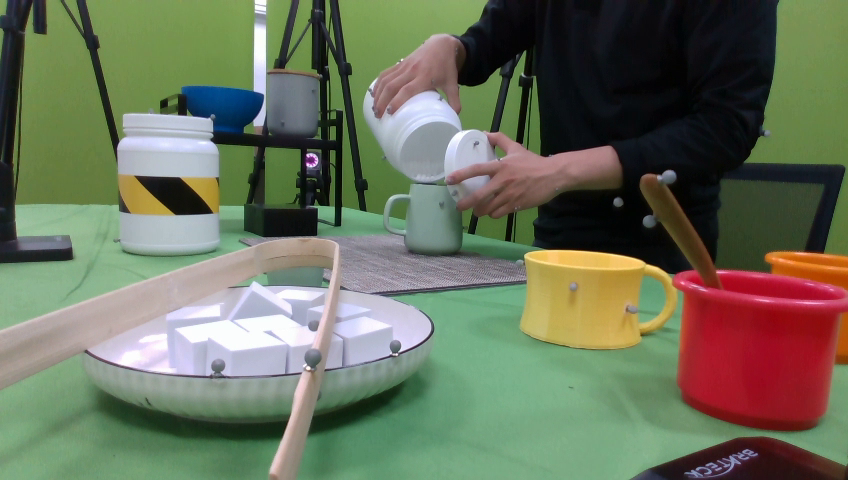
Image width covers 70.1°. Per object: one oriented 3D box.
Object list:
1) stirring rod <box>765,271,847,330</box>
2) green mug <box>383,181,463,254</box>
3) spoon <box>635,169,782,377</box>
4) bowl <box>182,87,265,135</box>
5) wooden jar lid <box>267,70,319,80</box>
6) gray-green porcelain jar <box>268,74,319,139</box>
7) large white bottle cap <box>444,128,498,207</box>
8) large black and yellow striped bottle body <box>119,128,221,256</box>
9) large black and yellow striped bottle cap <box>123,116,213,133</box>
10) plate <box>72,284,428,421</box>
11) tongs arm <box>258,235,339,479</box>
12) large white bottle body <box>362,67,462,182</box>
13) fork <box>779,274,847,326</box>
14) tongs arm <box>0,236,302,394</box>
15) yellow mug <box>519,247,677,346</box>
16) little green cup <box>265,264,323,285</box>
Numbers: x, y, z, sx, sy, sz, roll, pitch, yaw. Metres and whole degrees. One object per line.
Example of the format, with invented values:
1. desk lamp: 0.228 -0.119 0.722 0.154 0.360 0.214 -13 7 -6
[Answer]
1. stirring rod: 0.352 0.020 0.481 0.176 0.006 0.014 -40 -8 17
2. green mug: -0.001 -0.035 0.921 0.126 0.105 0.092 0 8 -16
3. spoon: 0.161 0.026 0.346 0.021 0.194 0.041 -51 32 -19
4. bowl: -0.383 -0.243 1.158 0.151 0.077 0.151 2 7 0
5. wooden jar lid: -0.275 -0.339 1.271 0.108 0.020 0.108 5 6 0
6. gray-green porcelain jar: -0.277 -0.279 1.280 0.106 0.126 0.106 2 8 0
7. large white bottle cap: 0.071 -0.105 0.882 0.018 0.114 0.115 1 5 40
8. large black and yellow striped bottle body: -0.355 -0.076 0.850 0.131 0.184 0.130 2 8 0
9. large black and yellow striped bottle cap: -0.353 -0.159 0.838 0.115 0.019 0.115 2 6 0
10. plate: -0.102 0.067 0.381 0.208 0.039 0.207 3 7 0
11. tongs arm: -0.074 0.040 0.345 0.051 0.026 0.384 -2 10 -3
12. large white bottle body: -0.017 -0.187 0.982 0.131 0.130 0.184 -1 37 -24
13. fork: 0.332 0.019 0.443 0.028 0.018 0.207 -3 -35 -16
14. tongs arm: -0.157 0.038 0.347 0.028 0.028 0.388 -3 8 11
15. yellow mug: 0.148 0.045 0.513 0.131 0.064 0.100 3 7 0
16. little green cup: -0.134 0.033 0.628 0.061 0.038 0.061 3 7 0
